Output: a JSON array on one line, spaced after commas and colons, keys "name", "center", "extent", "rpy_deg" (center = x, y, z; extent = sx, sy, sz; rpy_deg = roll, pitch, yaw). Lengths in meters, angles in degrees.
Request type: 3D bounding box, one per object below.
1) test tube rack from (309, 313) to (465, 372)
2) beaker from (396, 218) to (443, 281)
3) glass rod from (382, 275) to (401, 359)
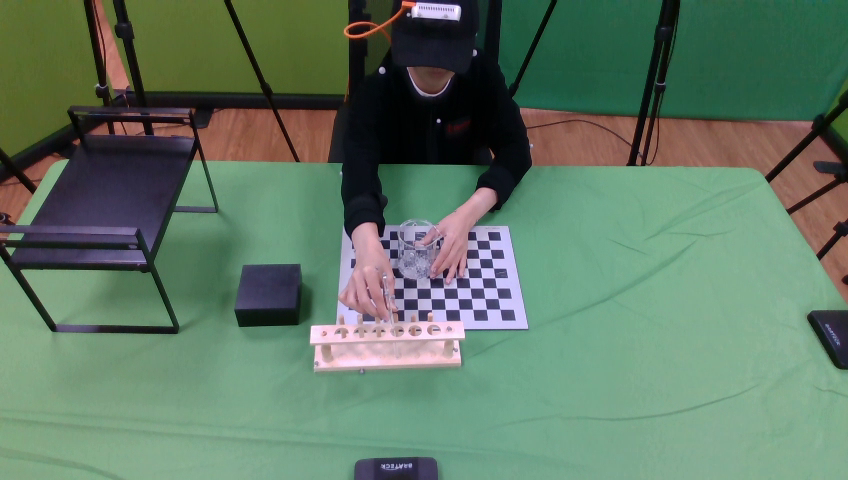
[{"name": "test tube rack", "center": [-0.059, 0.161, 0.990], "extent": [0.242, 0.085, 0.066], "rpy_deg": [-1, 46, -5]}, {"name": "beaker", "center": [-0.010, 0.020, 1.115], "extent": [0.084, 0.101, 0.073], "rpy_deg": [1, 46, -3]}, {"name": "glass rod", "center": [-0.049, 0.123, 0.934], "extent": [0.008, 0.201, 0.008], "rpy_deg": [-4, 43, 4]}]
